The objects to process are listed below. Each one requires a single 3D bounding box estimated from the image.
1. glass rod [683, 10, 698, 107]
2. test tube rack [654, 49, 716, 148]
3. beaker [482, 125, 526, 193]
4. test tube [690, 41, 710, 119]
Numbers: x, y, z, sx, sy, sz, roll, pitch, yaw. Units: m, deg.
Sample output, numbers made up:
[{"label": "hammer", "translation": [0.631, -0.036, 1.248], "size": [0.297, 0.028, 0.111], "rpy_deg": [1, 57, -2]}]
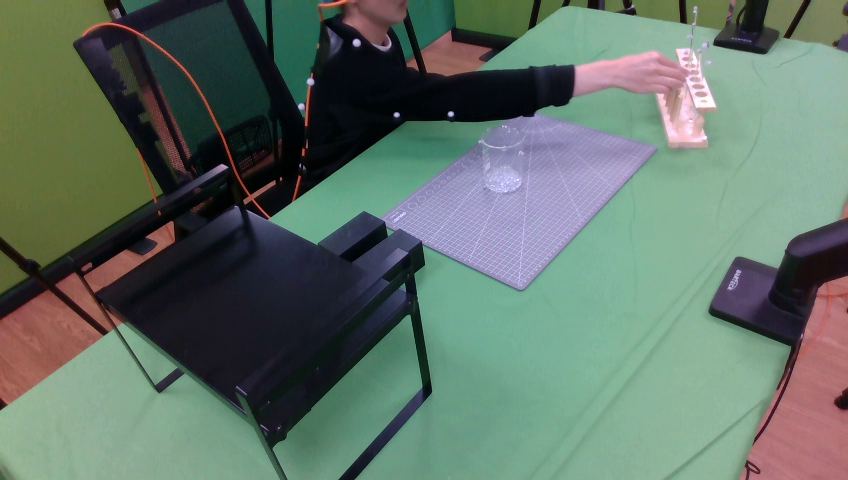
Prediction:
[{"label": "glass rod", "translation": [0.502, -0.337, 1.140], "size": [0.008, 0.201, 0.008], "rpy_deg": [-8, 43, 8]}, {"label": "test tube rack", "translation": [0.502, -0.281, 1.176], "size": [0.066, 0.085, 0.241], "rpy_deg": [2, 41, 11]}, {"label": "beaker", "translation": [0.141, -0.141, 1.055], "size": [0.073, 0.101, 0.084], "rpy_deg": [10, 43, 20]}, {"label": "test tube", "translation": [0.507, -0.291, 1.112], "size": [0.017, 0.151, 0.017], "rpy_deg": [-6, 38, 5]}]
